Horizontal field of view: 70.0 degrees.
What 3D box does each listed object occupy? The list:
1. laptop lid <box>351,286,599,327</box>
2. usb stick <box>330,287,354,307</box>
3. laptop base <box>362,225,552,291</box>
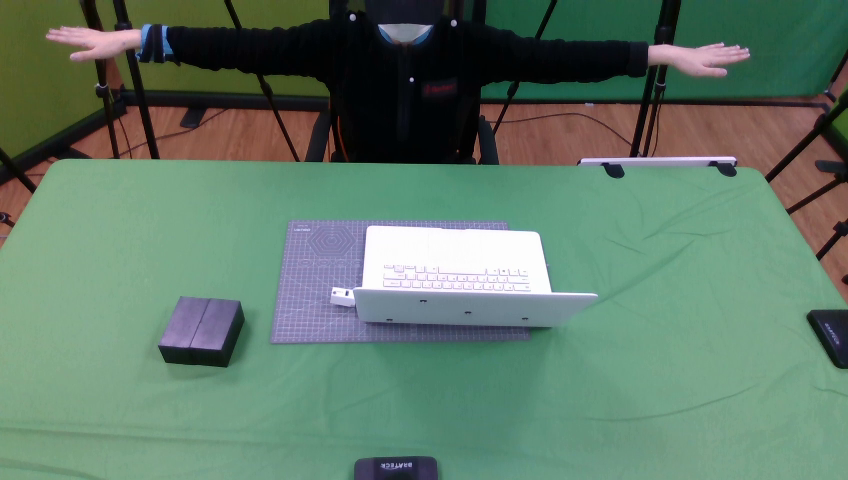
[{"bbox_3d":[0.068,0.109,0.952,0.357,0.242,0.013,2,71,-4],"label":"laptop lid"},{"bbox_3d":[-0.135,0.101,1.068,0.059,0.027,0.021,12,43,-9],"label":"usb stick"},{"bbox_3d":[0.061,0.063,1.145,0.354,0.023,0.234,2,43,-3],"label":"laptop base"}]
